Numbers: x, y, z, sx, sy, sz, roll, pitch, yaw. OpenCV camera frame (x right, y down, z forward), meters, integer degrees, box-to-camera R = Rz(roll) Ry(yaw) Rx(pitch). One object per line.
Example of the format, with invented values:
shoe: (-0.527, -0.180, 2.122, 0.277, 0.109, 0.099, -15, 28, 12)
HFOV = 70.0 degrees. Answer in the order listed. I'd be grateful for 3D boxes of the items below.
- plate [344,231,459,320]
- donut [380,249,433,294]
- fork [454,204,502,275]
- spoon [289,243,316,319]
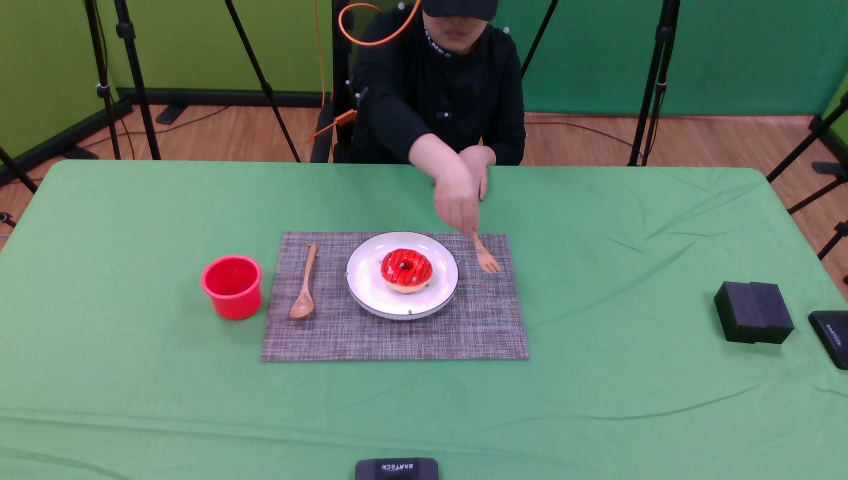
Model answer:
plate: (-0.042, 0.068, 1.115, 0.209, 0.038, 0.208, 2, 46, -2)
donut: (-0.033, 0.056, 1.111, 0.099, 0.048, 0.098, 4, 43, -3)
fork: (0.092, -0.005, 1.083, 0.028, 0.019, 0.206, -18, 45, -7)
spoon: (-0.215, 0.071, 1.108, 0.041, 0.022, 0.192, -10, 45, 10)
